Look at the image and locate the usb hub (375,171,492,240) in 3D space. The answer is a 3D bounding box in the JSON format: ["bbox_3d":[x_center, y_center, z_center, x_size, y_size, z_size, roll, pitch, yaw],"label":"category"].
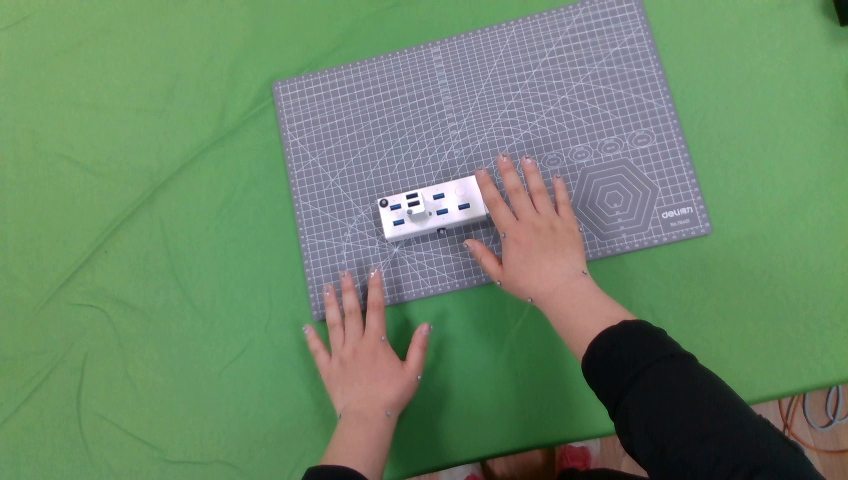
[{"bbox_3d":[0.011,-0.039,0.681,0.125,0.025,0.049,-14,78,5],"label":"usb hub"}]

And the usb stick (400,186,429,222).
[{"bbox_3d":[-0.009,-0.036,0.654,0.021,0.059,0.027,-17,75,5],"label":"usb stick"}]
